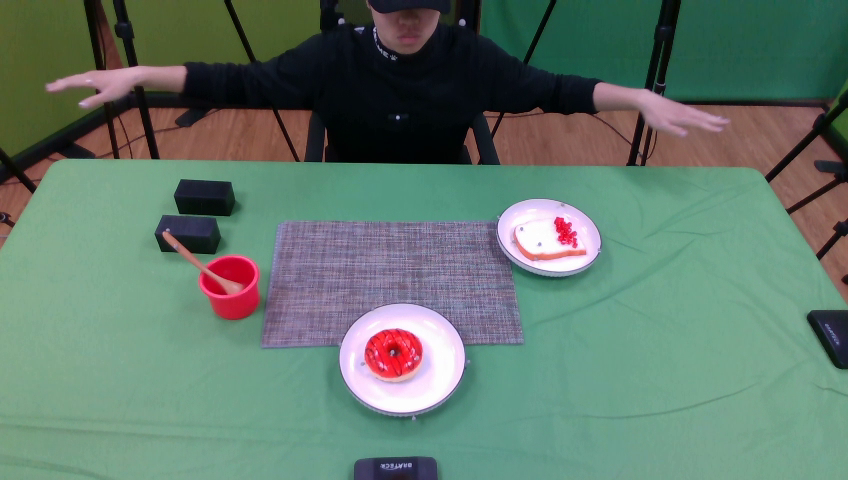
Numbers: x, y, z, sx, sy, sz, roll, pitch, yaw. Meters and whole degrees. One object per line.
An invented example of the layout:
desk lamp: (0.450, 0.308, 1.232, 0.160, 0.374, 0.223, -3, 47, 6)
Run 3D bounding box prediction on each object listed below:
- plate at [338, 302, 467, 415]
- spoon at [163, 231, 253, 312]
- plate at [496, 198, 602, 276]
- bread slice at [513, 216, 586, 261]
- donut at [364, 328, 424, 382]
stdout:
plate: (-0.035, 0.194, 0.992, 0.208, 0.039, 0.206, 2, 48, -2)
spoon: (-0.364, 0.054, 1.025, 0.194, 0.021, 0.041, 43, 49, -17)
plate: (0.246, -0.002, 1.205, 0.209, 0.038, 0.208, 2, 45, -2)
bread slice: (0.247, -0.003, 1.210, 0.132, 0.019, 0.104, -8, 47, -14)
donut: (-0.049, 0.185, 0.984, 0.099, 0.048, 0.098, 1, 45, -1)
